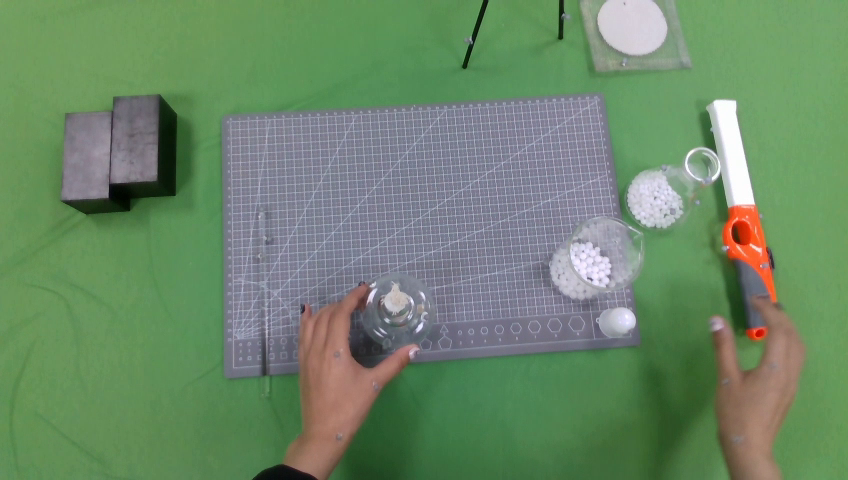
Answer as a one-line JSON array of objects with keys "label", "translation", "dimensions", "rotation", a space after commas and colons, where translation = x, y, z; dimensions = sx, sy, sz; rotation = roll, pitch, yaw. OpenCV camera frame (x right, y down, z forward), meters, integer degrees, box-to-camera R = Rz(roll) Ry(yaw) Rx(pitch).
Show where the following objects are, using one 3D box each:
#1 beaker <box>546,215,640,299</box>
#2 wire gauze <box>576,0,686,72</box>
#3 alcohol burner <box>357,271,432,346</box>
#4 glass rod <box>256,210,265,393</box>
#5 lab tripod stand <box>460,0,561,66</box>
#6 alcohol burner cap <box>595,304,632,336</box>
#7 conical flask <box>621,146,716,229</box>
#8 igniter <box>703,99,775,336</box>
[{"label": "beaker", "translation": [0.174, 0.021, 0.633], "dimensions": [0.084, 0.100, 0.073], "rotation": [-27, 79, -8]}, {"label": "wire gauze", "translation": [0.254, -0.264, 0.747], "dimensions": [0.125, 0.011, 0.121], "rotation": [-5, 78, -5]}, {"label": "alcohol burner", "translation": [-0.030, 0.067, 0.609], "dimensions": [0.078, 0.119, 0.077], "rotation": [0, 76, 1]}, {"label": "glass rod", "translation": [-0.177, 0.065, 0.658], "dimensions": [0.008, 0.008, 0.199], "rotation": [-3, 81, -3]}, {"label": "lab tripod stand", "translation": [0.095, -0.276, 0.680], "dimensions": [0.148, 0.132, 0.148], "rotation": [0, 79, -2]}, {"label": "alcohol burner cap", "translation": [0.206, 0.084, 0.649], "dimensions": [0.034, 0.048, 0.033], "rotation": [0, 77, -2]}, {"label": "conical flask", "translation": [0.264, -0.061, 0.645], "dimensions": [0.075, 0.122, 0.075], "rotation": [0, 77, -1]}, {"label": "igniter", "translation": [0.357, -0.030, 0.689], "dimensions": [0.057, 0.025, 0.275], "rotation": [-1, 78, -14]}]
